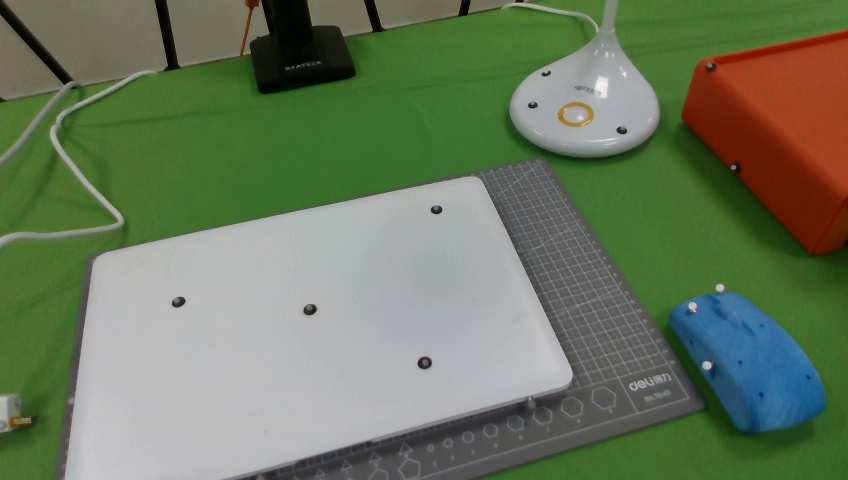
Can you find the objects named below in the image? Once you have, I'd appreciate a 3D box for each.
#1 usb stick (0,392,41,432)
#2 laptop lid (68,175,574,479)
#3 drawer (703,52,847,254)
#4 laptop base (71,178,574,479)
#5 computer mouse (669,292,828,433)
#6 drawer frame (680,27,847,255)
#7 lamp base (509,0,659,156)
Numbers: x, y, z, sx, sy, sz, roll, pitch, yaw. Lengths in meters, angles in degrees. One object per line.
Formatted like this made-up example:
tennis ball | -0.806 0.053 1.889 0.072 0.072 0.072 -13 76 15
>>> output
usb stick | -0.310 0.125 0.437 0.059 0.021 0.027 0 82 -12
laptop lid | -0.087 0.058 0.480 0.357 0.013 0.239 -12 50 -7
drawer | 0.394 -0.100 0.570 0.195 0.074 0.209 -14 47 -8
laptop base | -0.087 0.064 0.490 0.355 0.023 0.233 -13 51 -8
computer mouse | 0.233 0.082 0.441 0.063 0.041 0.116 -13 44 -6
drawer frame | 0.393 -0.103 0.571 0.202 0.083 0.211 -15 47 -9
lamp base | 0.173 -0.207 0.616 0.160 0.182 0.178 12 47 15
